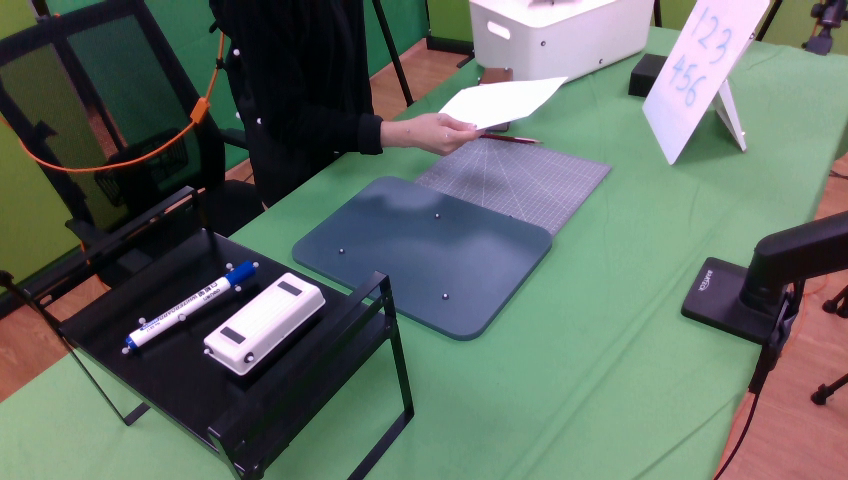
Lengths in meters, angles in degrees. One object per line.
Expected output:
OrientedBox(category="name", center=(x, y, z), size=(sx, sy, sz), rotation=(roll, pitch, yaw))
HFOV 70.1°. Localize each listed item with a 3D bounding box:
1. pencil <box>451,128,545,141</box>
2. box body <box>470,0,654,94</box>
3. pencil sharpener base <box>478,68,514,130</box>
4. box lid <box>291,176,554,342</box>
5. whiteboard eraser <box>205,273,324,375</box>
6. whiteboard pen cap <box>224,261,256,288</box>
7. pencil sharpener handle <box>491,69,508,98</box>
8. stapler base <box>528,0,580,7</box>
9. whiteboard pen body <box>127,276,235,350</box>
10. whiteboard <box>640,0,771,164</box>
OrientedBox(category="pencil", center=(0.145, -0.208, 1.204), size=(0.193, 0.012, 0.012), rotation=(10, 43, 21))
OrientedBox(category="box body", center=(0.319, -0.498, 1.405), size=(0.365, 0.161, 0.252), rotation=(-26, 43, -21))
OrientedBox(category="pencil sharpener base", center=(0.148, -0.286, 1.225), size=(0.061, 0.107, 0.076), rotation=(5, 42, 15))
OrientedBox(category="box lid", center=(-0.005, 0.011, 0.972), size=(0.368, 0.015, 0.264), rotation=(21, 49, 30))
OrientedBox(category="whiteboard eraser", center=(-0.157, 0.084, 0.605), size=(0.055, 0.042, 0.113), rotation=(24, 49, 30))
OrientedBox(category="whiteboard pen cap", center=(-0.207, 0.039, 0.677), size=(0.033, 0.018, 0.018), rotation=(-36, 47, -18))
OrientedBox(category="pencil sharpener handle", center=(0.155, -0.329, 1.254), size=(0.036, 0.068, 0.030), rotation=(17, 44, 3))
OrientedBox(category="stapler base", center=(0.287, -0.530, 1.318), size=(0.129, 0.024, 0.041), rotation=(12, 38, 43))
OrientedBox(category="whiteboard pen body", center=(-0.251, 0.071, 0.649), size=(0.141, 0.017, 0.017), rotation=(-36, 48, -26))
OrientedBox(category="whiteboard", center=(0.543, -0.299, 1.076), size=(0.144, 0.305, 0.216), rotation=(12, 40, -7))
